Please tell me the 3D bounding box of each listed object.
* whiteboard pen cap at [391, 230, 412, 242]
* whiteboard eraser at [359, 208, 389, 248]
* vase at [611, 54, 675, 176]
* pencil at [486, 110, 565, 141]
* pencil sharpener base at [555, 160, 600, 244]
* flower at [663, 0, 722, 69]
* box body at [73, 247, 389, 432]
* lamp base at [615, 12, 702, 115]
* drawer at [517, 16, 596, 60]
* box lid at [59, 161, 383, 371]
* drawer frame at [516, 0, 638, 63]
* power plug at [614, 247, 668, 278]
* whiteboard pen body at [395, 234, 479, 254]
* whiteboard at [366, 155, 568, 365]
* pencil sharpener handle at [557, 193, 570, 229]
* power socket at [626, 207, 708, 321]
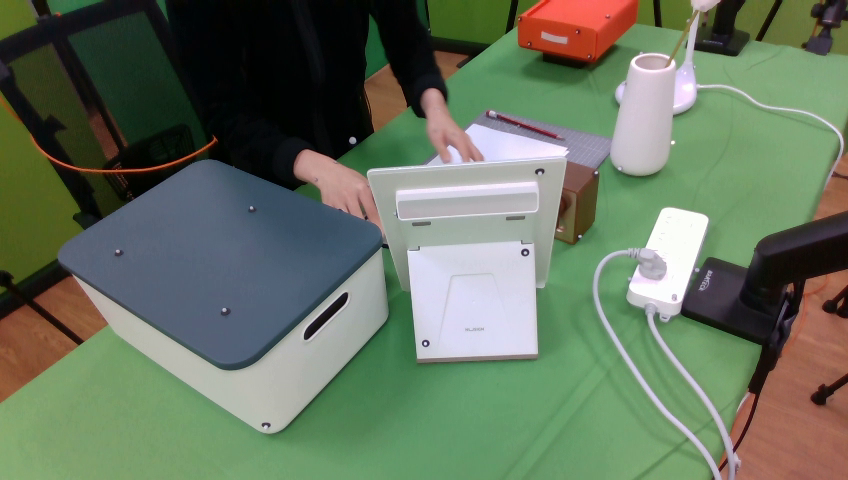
[{"bbox_3d":[-0.036,-0.006,0.980,0.033,0.018,0.018,10,43,18],"label":"whiteboard pen cap"},{"bbox_3d":[-0.053,-0.015,0.904,0.112,0.042,0.055,11,47,35],"label":"whiteboard eraser"},{"bbox_3d":[0.377,-0.209,1.031,0.098,0.201,0.097,-3,40,3],"label":"vase"},{"bbox_3d":[0.204,-0.232,1.226,0.192,0.012,0.012,29,52,33],"label":"pencil"},{"bbox_3d":[0.228,-0.057,0.945,0.061,0.107,0.077,24,50,31],"label":"pencil sharpener base"},{"bbox_3d":[0.379,-0.261,0.965,0.044,0.362,0.038,21,53,5],"label":"flower"},{"bbox_3d":[-0.255,0.065,0.827,0.361,0.161,0.255,21,48,29],"label":"box body"},{"bbox_3d":[0.484,-0.364,1.211,0.180,0.181,0.159,-15,41,-14],"label":"lamp base"},{"bbox_3d":[0.353,-0.506,1.405,0.193,0.073,0.212,23,49,32],"label":"drawer"},{"bbox_3d":[-0.262,0.010,0.777,0.369,0.015,0.264,21,48,29],"label":"box lid"},{"bbox_3d":[0.355,-0.508,1.411,0.200,0.083,0.214,23,51,32],"label":"drawer frame"},{"bbox_3d":[0.306,0.031,0.851,0.072,0.053,0.035,24,49,33],"label":"power plug"},{"bbox_3d":[0.019,0.005,0.963,0.140,0.017,0.017,9,43,17],"label":"whiteboard pen body"},{"bbox_3d":[0.059,0.049,0.738,0.217,0.307,0.143,-3,60,5],"label":"whiteboard"},{"bbox_3d":[0.195,-0.038,0.908,0.035,0.068,0.031,24,50,30],"label":"pencil sharpener handle"},{"bbox_3d":[0.359,0.025,0.886,0.072,0.033,0.227,16,46,26],"label":"power socket"}]
